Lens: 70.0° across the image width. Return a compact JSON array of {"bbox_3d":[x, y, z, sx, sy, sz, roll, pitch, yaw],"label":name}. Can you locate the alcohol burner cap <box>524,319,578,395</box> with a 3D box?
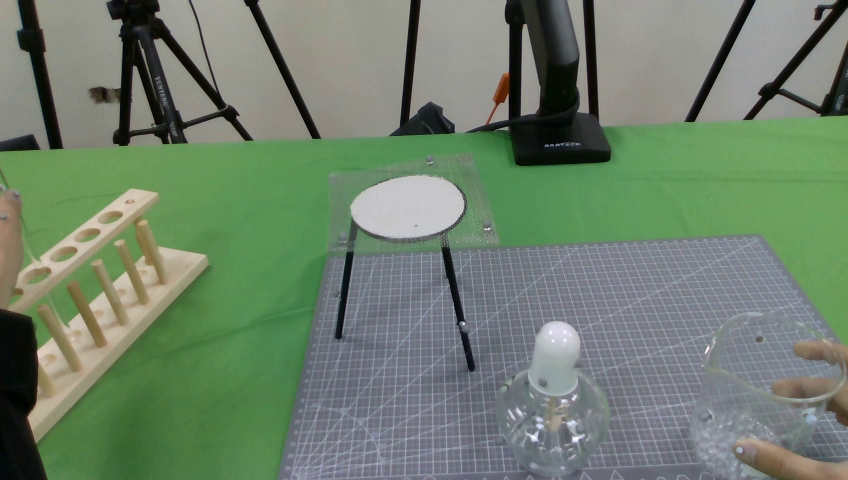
[{"bbox_3d":[0.082,0.072,0.385,0.034,0.048,0.033,0,35,1],"label":"alcohol burner cap"}]

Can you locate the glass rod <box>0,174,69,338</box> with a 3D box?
[{"bbox_3d":[-0.327,0.000,0.494,0.008,0.201,0.008,-3,28,2],"label":"glass rod"}]

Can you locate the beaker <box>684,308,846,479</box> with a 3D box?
[{"bbox_3d":[0.214,0.107,0.400,0.084,0.101,0.073,-5,37,0],"label":"beaker"}]

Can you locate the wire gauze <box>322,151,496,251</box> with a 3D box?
[{"bbox_3d":[-0.017,-0.031,0.463,0.125,0.011,0.120,-7,37,-2],"label":"wire gauze"}]

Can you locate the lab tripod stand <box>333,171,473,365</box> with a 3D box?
[{"bbox_3d":[-0.012,0.022,0.504,0.148,0.133,0.147,-3,39,3],"label":"lab tripod stand"}]

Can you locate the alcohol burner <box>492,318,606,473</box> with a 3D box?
[{"bbox_3d":[0.085,0.100,0.408,0.078,0.120,0.077,-3,35,2],"label":"alcohol burner"}]

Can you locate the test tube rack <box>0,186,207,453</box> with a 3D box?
[{"bbox_3d":[-0.300,0.054,0.532,0.066,0.086,0.241,10,39,17],"label":"test tube rack"}]
